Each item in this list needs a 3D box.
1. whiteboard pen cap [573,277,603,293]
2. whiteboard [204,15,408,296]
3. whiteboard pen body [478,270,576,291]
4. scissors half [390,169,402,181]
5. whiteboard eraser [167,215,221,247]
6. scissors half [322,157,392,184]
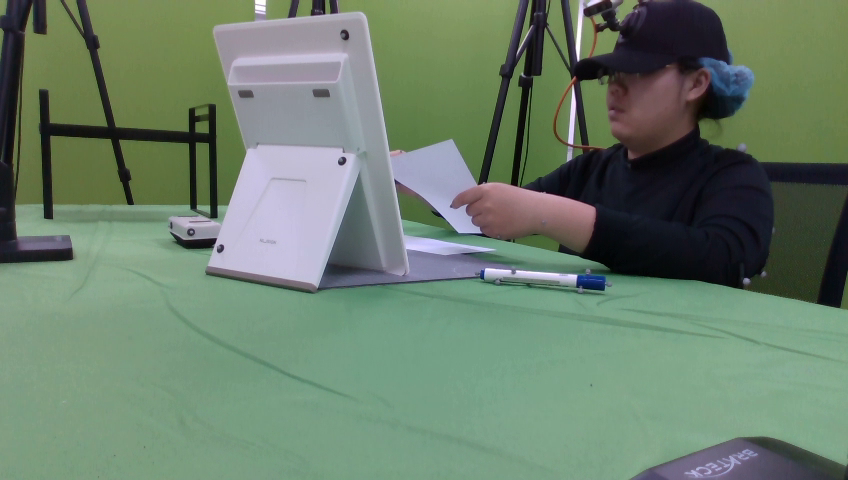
[{"bbox_3d":[0.186,0.051,0.687,0.033,0.018,0.018,4,7,17],"label":"whiteboard pen cap"},{"bbox_3d":[-0.166,-0.072,0.669,0.216,0.305,0.144,8,30,30],"label":"whiteboard"},{"bbox_3d":[0.132,0.048,0.707,0.140,0.017,0.017,4,8,17],"label":"whiteboard pen body"},{"bbox_3d":[-0.104,-0.126,1.060,0.176,0.013,0.040,9,-14,-43],"label":"scissors half"},{"bbox_3d":[-0.350,-0.014,0.920,0.056,0.042,0.112,0,7,-35],"label":"whiteboard eraser"},{"bbox_3d":[-0.119,-0.123,1.073,0.040,0.013,0.176,-13,-16,31],"label":"scissors half"}]
